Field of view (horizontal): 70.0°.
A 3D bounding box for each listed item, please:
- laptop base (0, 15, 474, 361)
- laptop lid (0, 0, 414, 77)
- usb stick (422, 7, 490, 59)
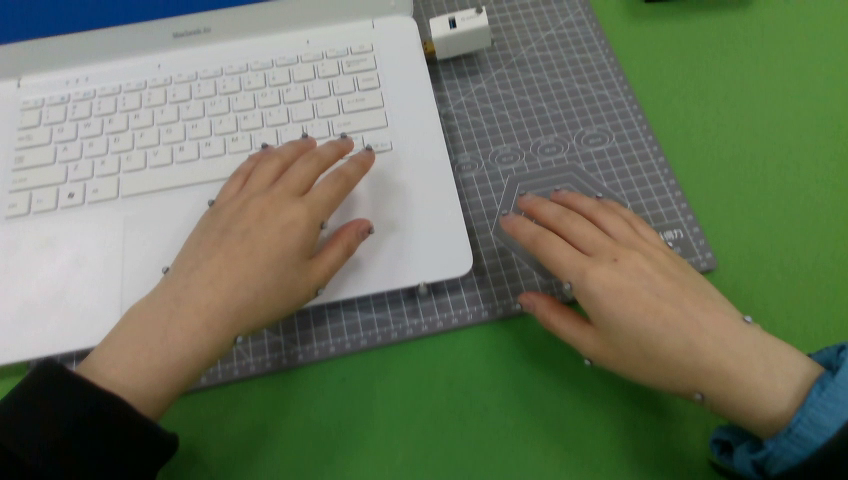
[{"bbox_3d":[-0.159,-0.048,0.440,0.354,0.023,0.233,-10,66,-3],"label":"laptop base"},{"bbox_3d":[-0.193,-0.243,0.421,0.357,0.244,0.013,-12,37,-3],"label":"laptop lid"},{"bbox_3d":[0.021,-0.159,0.473,0.059,0.027,0.021,-13,64,9],"label":"usb stick"}]
